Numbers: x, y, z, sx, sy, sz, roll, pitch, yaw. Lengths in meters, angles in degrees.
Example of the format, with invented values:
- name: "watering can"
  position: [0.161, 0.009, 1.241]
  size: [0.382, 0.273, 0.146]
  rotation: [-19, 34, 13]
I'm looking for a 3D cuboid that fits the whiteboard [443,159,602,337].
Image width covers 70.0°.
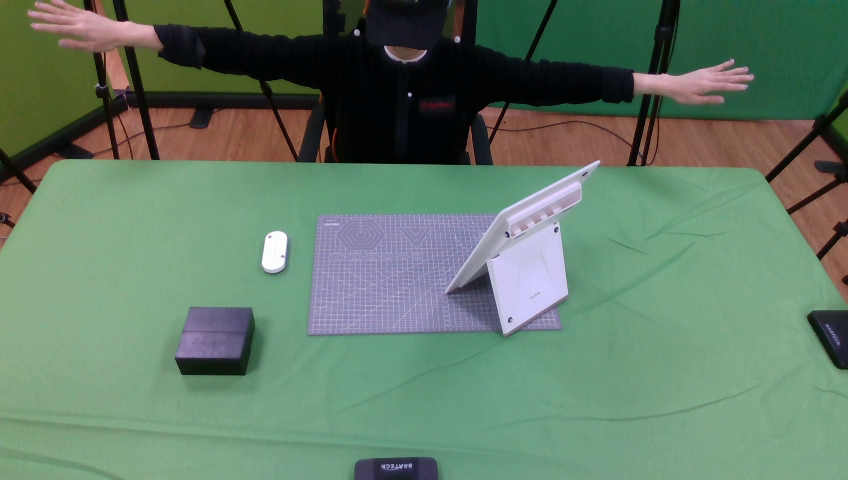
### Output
- name: "whiteboard"
  position: [0.193, 0.036, 1.018]
  size: [0.217, 0.306, 0.143]
  rotation: [-26, 72, -26]

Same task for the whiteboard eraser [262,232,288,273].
- name: "whiteboard eraser"
  position: [-0.285, 0.023, 1.158]
  size: [0.041, 0.019, 0.100]
  rotation: [-1, 45, -4]
